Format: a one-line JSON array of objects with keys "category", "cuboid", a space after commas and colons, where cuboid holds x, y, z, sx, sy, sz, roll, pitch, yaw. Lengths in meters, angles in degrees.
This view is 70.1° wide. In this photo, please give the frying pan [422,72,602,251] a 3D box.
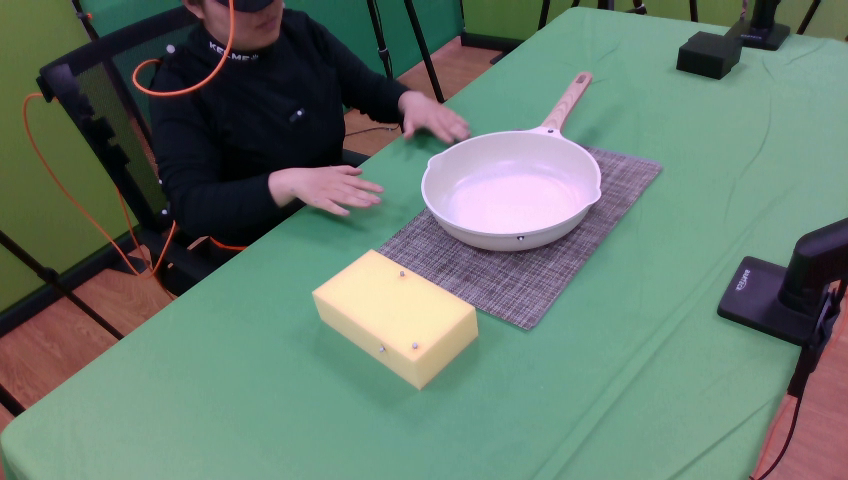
[{"category": "frying pan", "cuboid": [0.199, -0.155, 1.062, 0.304, 0.103, 0.488, 19, 56, 28]}]

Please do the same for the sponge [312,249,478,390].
[{"category": "sponge", "cuboid": [-0.042, 0.103, 0.843, 0.205, 0.061, 0.118, 27, 52, 35]}]
